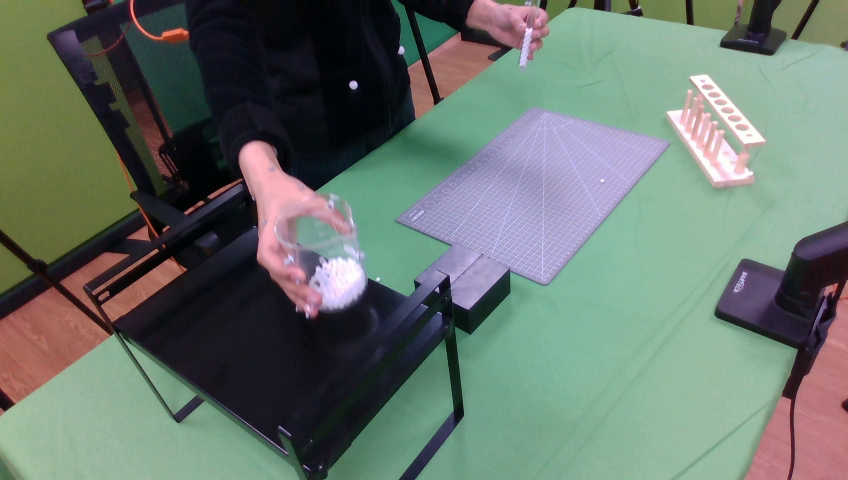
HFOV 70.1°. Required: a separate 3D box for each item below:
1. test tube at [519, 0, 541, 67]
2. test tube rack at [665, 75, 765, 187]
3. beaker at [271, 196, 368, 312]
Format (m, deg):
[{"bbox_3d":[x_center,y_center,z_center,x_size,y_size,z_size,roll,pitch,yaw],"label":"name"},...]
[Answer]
[{"bbox_3d":[0.175,-0.352,0.996,0.017,0.150,0.017,2,48,-2],"label":"test tube"},{"bbox_3d":[0.512,-0.201,1.082,0.067,0.085,0.241,-6,41,2],"label":"test tube rack"},{"bbox_3d":[-0.096,0.018,0.598,0.083,0.101,0.074,13,50,20],"label":"beaker"}]
